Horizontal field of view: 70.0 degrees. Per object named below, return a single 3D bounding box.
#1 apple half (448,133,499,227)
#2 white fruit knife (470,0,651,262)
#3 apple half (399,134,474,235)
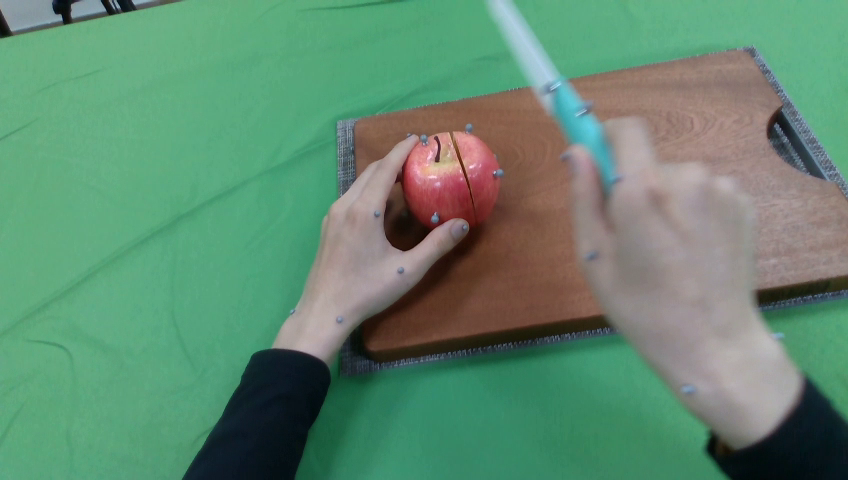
[{"bbox_3d":[0.046,-0.051,0.504,0.033,0.082,0.080,-16,53,0],"label":"apple half"},{"bbox_3d":[0.074,-0.079,0.364,0.016,0.027,0.205,-21,67,-18],"label":"white fruit knife"},{"bbox_3d":[0.007,-0.041,0.505,0.053,0.075,0.080,-18,56,1],"label":"apple half"}]
